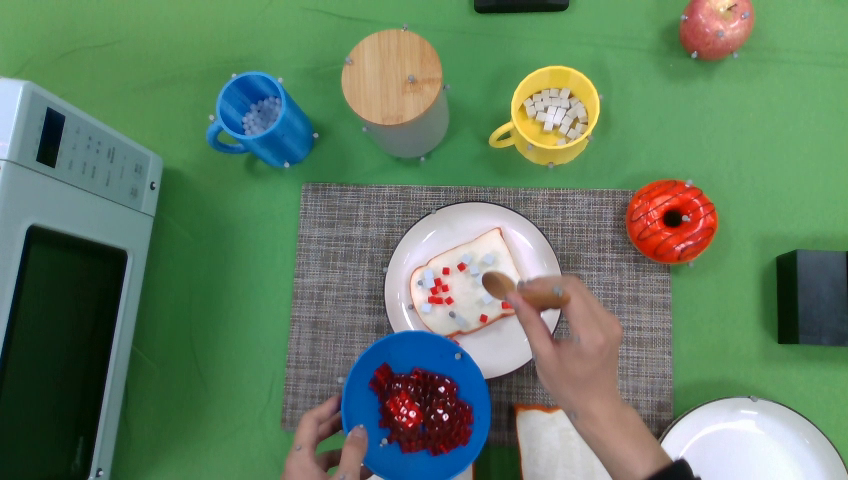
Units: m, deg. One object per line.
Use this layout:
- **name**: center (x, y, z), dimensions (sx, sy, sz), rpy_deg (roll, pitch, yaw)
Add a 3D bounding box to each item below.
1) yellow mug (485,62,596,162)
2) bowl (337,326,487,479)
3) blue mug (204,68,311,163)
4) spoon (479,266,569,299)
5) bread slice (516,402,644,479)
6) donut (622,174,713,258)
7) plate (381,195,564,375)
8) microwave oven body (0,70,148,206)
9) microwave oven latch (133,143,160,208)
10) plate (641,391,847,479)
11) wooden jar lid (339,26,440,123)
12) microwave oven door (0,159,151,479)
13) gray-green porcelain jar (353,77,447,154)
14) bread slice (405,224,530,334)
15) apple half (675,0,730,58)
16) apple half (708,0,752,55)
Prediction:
- **yellow mug**: center (0.134, -0.144, 0.717), dimensions (0.131, 0.064, 0.099), rpy_deg (-22, 79, 3)
- **bowl**: center (-0.018, 0.171, 0.622), dimensions (0.152, 0.077, 0.150), rpy_deg (6, 67, -13)
- **blue mug**: center (-0.207, -0.141, 0.735), dimensions (0.116, 0.106, 0.082), rpy_deg (-23, 78, 3)
- **spoon**: center (0.086, 0.043, 0.542), dimensions (0.021, 0.193, 0.042), rpy_deg (-40, 96, -6)
- **bread slice**: center (0.168, 0.228, 0.642), dimensions (0.135, 0.018, 0.106), rpy_deg (-2, 77, -14)
- **donut**: center (0.275, -0.027, 0.690), dimensions (0.099, 0.048, 0.098), rpy_deg (-1, 82, 6)
- **plate**: center (0.056, 0.052, 0.705), dimensions (0.207, 0.039, 0.207), rpy_deg (-1, 81, 6)
- **microwave oven body**: center (-0.531, 0.063, 0.657), dimensions (0.325, 0.261, 0.440), rpy_deg (5, 82, 7)
- **microwave oven latch**: center (-0.354, -0.081, 0.758), dimensions (0.030, 0.029, 0.079), rpy_deg (7, 83, 7)
- **plate**: center (0.335, 0.265, 0.643), dimensions (0.209, 0.038, 0.208), rpy_deg (-1, 81, 7)
- **wooden jar lid**: center (-0.036, -0.175, 0.647), dimensions (0.108, 0.021, 0.108), rpy_deg (-1, 79, 7)
- **microwave oven door**: center (-0.392, 0.118, 0.627), dimensions (0.039, 0.245, 0.354), rpy_deg (5, 81, 8)
- **gray-green porcelain jar**: center (-0.029, -0.164, 0.708), dimensions (0.106, 0.127, 0.105), rpy_deg (-1, 80, 7)
- **bread slice**: center (0.046, 0.053, 0.709), dimensions (0.131, 0.019, 0.104), rpy_deg (-24, 79, -1)
- **apple half**: center (0.315, -0.241, 0.707), dimensions (0.033, 0.081, 0.081), rpy_deg (-30, 78, -4)
- **apple half**: center (0.347, -0.261, 0.708), dimensions (0.053, 0.075, 0.080), rpy_deg (-29, 75, -4)
